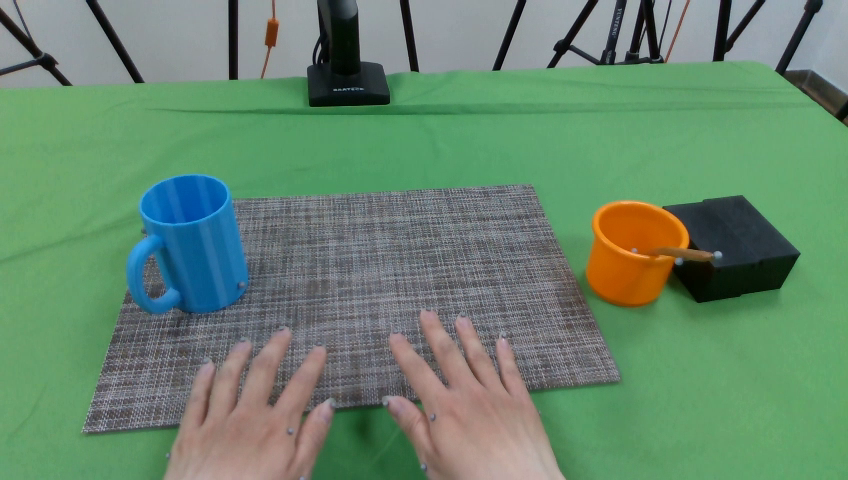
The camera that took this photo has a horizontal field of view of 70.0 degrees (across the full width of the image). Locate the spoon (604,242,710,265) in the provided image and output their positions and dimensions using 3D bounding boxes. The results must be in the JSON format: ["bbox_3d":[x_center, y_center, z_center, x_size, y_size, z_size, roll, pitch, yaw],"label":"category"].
[{"bbox_3d":[0.212,0.011,0.561,0.041,0.194,0.021,7,85,-1],"label":"spoon"}]

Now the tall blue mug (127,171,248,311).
[{"bbox_3d":[-0.213,0.011,0.557,0.078,0.109,0.106,3,41,-2],"label":"tall blue mug"}]
